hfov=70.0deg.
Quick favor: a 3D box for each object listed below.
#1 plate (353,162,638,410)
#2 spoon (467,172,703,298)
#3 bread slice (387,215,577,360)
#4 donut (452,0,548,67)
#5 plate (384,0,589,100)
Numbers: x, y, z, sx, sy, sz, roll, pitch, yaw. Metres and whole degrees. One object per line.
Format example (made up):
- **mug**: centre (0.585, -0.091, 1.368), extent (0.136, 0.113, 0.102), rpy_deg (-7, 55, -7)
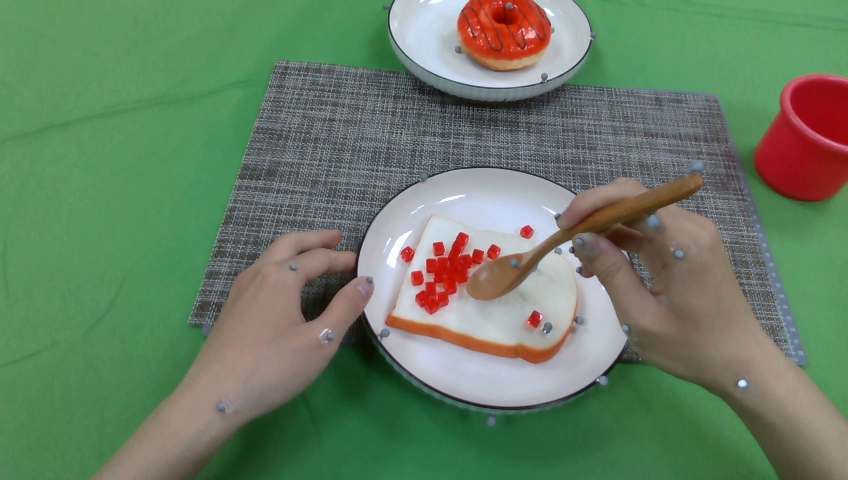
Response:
- **plate**: centre (0.052, 0.030, 0.456), extent (0.209, 0.038, 0.207), rpy_deg (1, 56, -2)
- **spoon**: centre (0.082, 0.001, 0.360), extent (0.022, 0.194, 0.041), rpy_deg (38, 59, -9)
- **bread slice**: centre (0.049, 0.034, 0.457), extent (0.131, 0.019, 0.104), rpy_deg (13, 55, 9)
- **donut**: centre (0.077, -0.216, 0.616), extent (0.099, 0.048, 0.098), rpy_deg (2, 56, -3)
- **plate**: centre (0.062, -0.211, 0.626), extent (0.208, 0.039, 0.205), rpy_deg (2, 53, -2)
